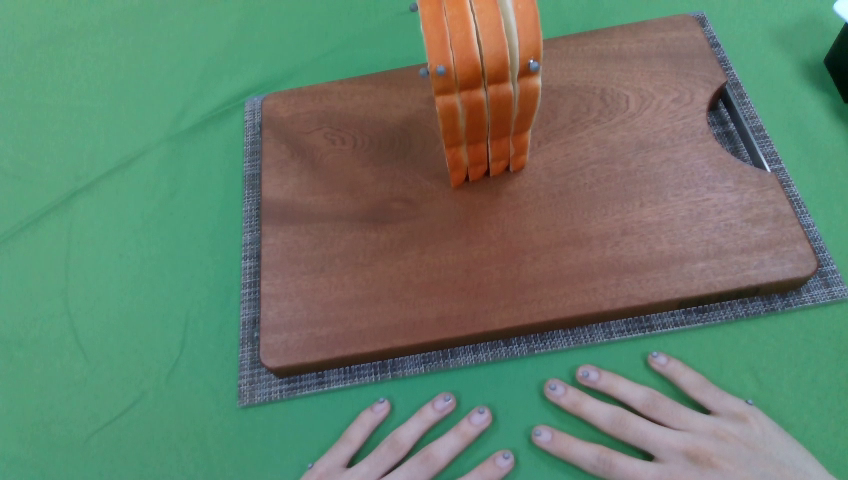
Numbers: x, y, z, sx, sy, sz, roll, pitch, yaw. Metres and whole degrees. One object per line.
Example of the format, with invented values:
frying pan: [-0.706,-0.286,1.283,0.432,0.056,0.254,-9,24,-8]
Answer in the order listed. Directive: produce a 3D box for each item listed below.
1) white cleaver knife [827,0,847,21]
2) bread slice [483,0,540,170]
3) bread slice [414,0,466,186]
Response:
white cleaver knife: [0.410,-0.104,0.435,0.066,0.022,0.283,-24,63,-5]
bread slice: [0.064,-0.132,0.455,0.019,0.132,0.104,-9,61,-3]
bread slice: [0.011,-0.123,0.456,0.018,0.135,0.106,-11,57,3]
